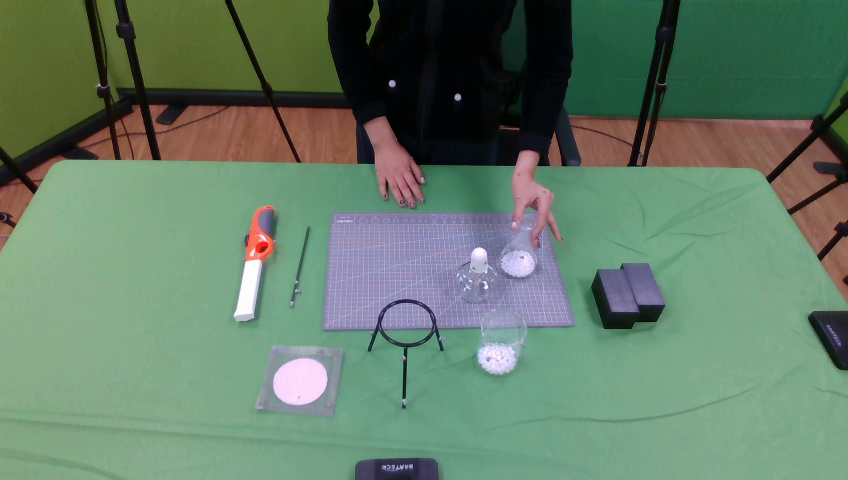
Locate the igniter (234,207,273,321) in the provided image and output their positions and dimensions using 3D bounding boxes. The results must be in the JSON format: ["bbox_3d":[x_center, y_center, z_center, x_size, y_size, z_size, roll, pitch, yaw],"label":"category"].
[{"bbox_3d":[-0.319,0.035,1.137,0.057,0.025,0.274,-7,46,3],"label":"igniter"}]

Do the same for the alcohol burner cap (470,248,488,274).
[{"bbox_3d":[0.095,0.034,1.057,0.034,0.048,0.033,-3,52,4],"label":"alcohol burner cap"}]

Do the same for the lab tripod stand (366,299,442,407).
[{"bbox_3d":[-0.028,0.165,0.961,0.148,0.132,0.147,3,44,-2],"label":"lab tripod stand"}]

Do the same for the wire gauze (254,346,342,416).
[{"bbox_3d":[-0.201,0.223,0.978,0.125,0.011,0.121,4,45,1],"label":"wire gauze"}]

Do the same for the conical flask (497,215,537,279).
[{"bbox_3d":[0.181,0.009,1.132,0.075,0.122,0.075,2,46,-2],"label":"conical flask"}]

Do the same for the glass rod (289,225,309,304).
[{"bbox_3d":[-0.235,0.042,1.149,0.008,0.008,0.198,3,46,-1],"label":"glass rod"}]

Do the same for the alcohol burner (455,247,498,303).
[{"bbox_3d":[0.095,0.057,1.085,0.078,0.120,0.077,1,47,-1],"label":"alcohol burner"}]

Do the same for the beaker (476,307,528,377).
[{"bbox_3d":[0.122,0.171,0.991,0.084,0.101,0.073,-34,56,-30],"label":"beaker"}]
